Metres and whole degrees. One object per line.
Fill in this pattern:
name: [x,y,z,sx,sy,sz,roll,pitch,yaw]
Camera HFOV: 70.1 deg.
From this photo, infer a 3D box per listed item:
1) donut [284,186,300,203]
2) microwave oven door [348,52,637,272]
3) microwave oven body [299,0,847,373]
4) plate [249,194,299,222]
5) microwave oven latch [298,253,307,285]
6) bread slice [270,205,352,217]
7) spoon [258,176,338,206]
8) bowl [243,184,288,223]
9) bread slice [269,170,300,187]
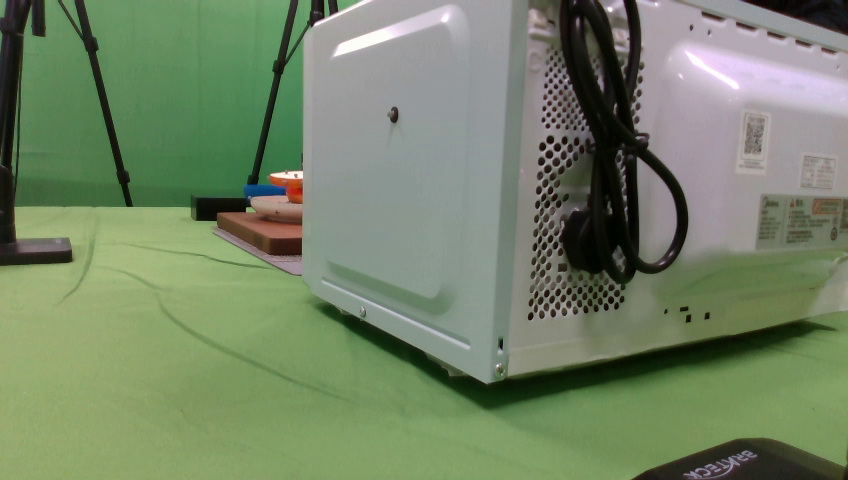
donut: [-0.210,-0.087,1.123,0.099,0.048,0.099,3,2,0]
microwave oven door: [0.091,-0.085,0.727,0.357,0.243,0.039,0,8,-18]
microwave oven body: [0.151,-0.055,0.543,0.444,0.260,0.324,-2,7,-33]
plate: [-0.217,-0.058,1.122,0.208,0.039,0.207,3,7,0]
microwave oven latch: [-0.081,0.027,0.582,0.079,0.029,0.030,-1,7,-32]
bread slice: [-0.214,-0.054,1.116,0.104,0.019,0.132,6,5,41]
spoon: [-0.279,-0.112,1.356,0.194,0.021,0.041,-27,18,-27]
bowl: [-0.321,-0.081,1.333,0.151,0.077,0.151,3,7,0]
bread slice: [-0.213,-0.115,1.113,0.106,0.018,0.135,9,16,38]
